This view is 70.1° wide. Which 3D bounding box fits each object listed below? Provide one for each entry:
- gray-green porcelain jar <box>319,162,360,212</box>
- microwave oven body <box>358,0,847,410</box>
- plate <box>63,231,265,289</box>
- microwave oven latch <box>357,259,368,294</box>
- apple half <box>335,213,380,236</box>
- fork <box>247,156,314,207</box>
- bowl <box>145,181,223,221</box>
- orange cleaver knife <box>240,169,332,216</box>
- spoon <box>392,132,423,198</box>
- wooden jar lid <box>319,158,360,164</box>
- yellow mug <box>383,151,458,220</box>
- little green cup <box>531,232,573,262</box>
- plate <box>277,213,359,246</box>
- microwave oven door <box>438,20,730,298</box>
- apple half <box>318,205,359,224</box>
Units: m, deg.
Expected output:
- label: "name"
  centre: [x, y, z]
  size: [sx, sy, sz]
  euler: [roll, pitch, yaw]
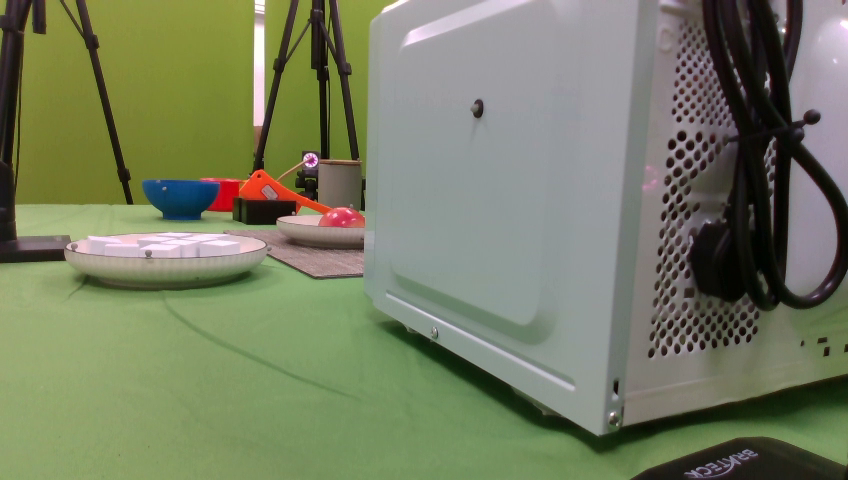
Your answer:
- label: "gray-green porcelain jar"
  centre: [-0.204, -0.126, 1.489]
  size: [0.106, 0.126, 0.106]
  euler: [2, 7, 0]
- label: "microwave oven body"
  centre: [0.210, -0.051, 0.471]
  size: [0.444, 0.260, 0.324]
  euler: [-1, 7, -28]
- label: "plate"
  centre: [-0.288, 0.021, 0.687]
  size: [0.208, 0.039, 0.207]
  euler: [2, 8, 0]
- label: "microwave oven latch"
  centre: [-0.019, 0.031, 0.529]
  size: [0.079, 0.029, 0.030]
  euler: [-1, 7, -27]
- label: "apple half"
  centre: [-0.112, -0.029, 1.034]
  size: [0.081, 0.033, 0.081]
  euler: [0, 10, 0]
- label: "fork"
  centre: [-0.360, -0.147, 1.523]
  size: [0.207, 0.019, 0.028]
  euler: [-43, 16, -7]
- label: "bowl"
  centre: [-0.499, -0.081, 1.261]
  size: [0.151, 0.077, 0.151]
  euler: [2, 7, 0]
- label: "orange cleaver knife"
  centre: [-0.286, -0.082, 1.298]
  size: [0.212, 0.077, 0.012]
  euler: [25, -2, -31]
- label: "spoon"
  centre: [-0.032, -0.131, 1.033]
  size: [0.042, 0.021, 0.193]
  euler: [13, 41, -24]
- label: "wooden jar lid"
  centre: [-0.203, -0.189, 1.482]
  size: [0.108, 0.020, 0.108]
  euler: [2, 10, 0]
- label: "yellow mug"
  centre: [0.002, -0.094, 0.973]
  size: [0.130, 0.064, 0.100]
  euler: [-37, -22, 28]
- label: "little green cup"
  centre: [0.184, 0.010, 0.879]
  size: [0.061, 0.038, 0.061]
  euler: [2, 6, 0]
- label: "plate"
  centre: [-0.135, -0.018, 0.993]
  size: [0.209, 0.038, 0.209]
  euler: [2, 7, 0]
- label: "microwave oven door"
  centre: [0.181, -0.076, 0.618]
  size: [0.358, 0.243, 0.039]
  euler: [-2, 8, -28]
- label: "apple half"
  centre: [-0.126, -0.028, 0.954]
  size: [0.081, 0.053, 0.074]
  euler: [-2, 10, -33]
